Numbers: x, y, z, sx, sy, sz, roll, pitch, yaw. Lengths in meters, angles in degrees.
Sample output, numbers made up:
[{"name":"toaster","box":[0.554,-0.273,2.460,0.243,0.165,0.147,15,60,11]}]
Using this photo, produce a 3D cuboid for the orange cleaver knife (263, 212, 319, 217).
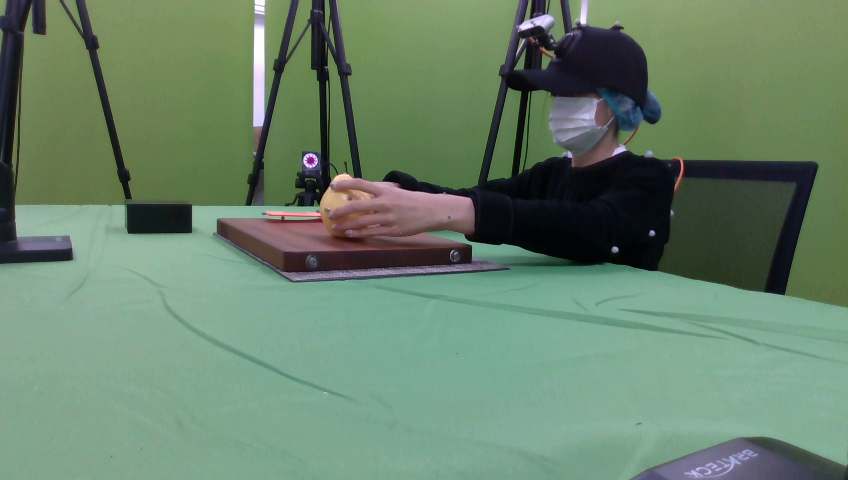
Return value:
[{"name":"orange cleaver knife","box":[-0.192,-0.045,1.097,0.212,0.012,0.077,0,4,-39]}]

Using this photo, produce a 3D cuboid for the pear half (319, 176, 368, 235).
[{"name":"pear half","box":[-0.121,-0.052,0.890,0.071,0.088,0.031,-6,12,-21]}]

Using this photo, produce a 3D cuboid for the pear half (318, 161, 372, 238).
[{"name":"pear half","box":[-0.110,-0.056,0.854,0.076,0.110,0.055,-6,11,-21]}]
